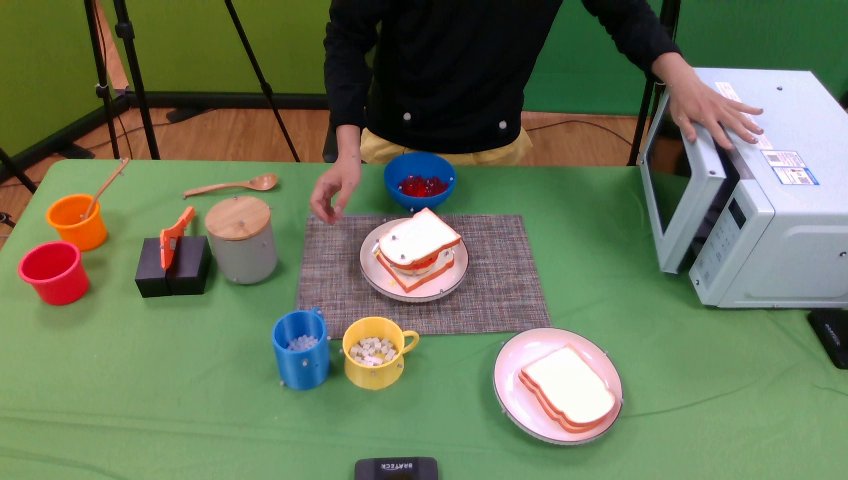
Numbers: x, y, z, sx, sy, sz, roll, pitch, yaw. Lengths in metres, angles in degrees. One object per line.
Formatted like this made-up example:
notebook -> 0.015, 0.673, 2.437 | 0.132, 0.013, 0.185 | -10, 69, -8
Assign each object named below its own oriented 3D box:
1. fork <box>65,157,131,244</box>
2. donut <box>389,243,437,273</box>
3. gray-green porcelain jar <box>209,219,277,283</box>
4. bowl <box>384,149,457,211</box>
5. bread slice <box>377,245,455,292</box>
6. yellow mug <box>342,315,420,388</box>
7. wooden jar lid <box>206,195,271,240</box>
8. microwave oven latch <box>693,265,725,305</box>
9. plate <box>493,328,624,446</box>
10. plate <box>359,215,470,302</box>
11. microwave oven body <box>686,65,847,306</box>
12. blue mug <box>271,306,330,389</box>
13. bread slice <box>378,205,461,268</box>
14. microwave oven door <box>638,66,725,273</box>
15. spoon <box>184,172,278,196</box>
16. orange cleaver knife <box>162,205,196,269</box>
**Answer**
fork -> -0.609, -0.074, 1.132 | 0.207, 0.019, 0.028 | -52, 49, 10
donut -> -0.023, 0.018, 1.120 | 0.099, 0.048, 0.098 | -10, 48, 11
gray-green porcelain jar -> -0.323, 0.007, 1.092 | 0.106, 0.127, 0.105 | 2, 46, -2
bowl -> -0.009, -0.112, 1.262 | 0.151, 0.077, 0.150 | 2, 46, -2
bread slice -> -0.009, 0.033, 1.148 | 0.131, 0.019, 0.104 | -28, 55, -25
yellow mug -> -0.068, 0.177, 0.990 | 0.131, 0.064, 0.099 | -15, 50, -19
wooden jar lid -> -0.319, -0.036, 1.046 | 0.108, 0.021, 0.107 | 1, 44, 0
microwave oven latch -> 0.523, 0.082, 1.116 | 0.030, 0.029, 0.078 | 2, 46, -1
plate -> 0.213, 0.236, 0.974 | 0.208, 0.039, 0.206 | 2, 46, -2
plate -> -0.019, 0.038, 1.140 | 0.209, 0.038, 0.208 | 2, 46, -2
microwave oven body -> 0.669, -0.111, 1.176 | 0.326, 0.261, 0.439 | 0, 46, -3
blue mug -> -0.188, 0.163, 0.969 | 0.082, 0.106, 0.116 | 15, 47, 10
bread slice -> -0.013, -0.002, 1.097 | 0.134, 0.018, 0.106 | -34, 50, -22
microwave oven door -> 0.497, -0.148, 1.193 | 0.039, 0.245, 0.353 | 6, 46, 2
spoon -> -0.405, -0.117, 1.275 | 0.194, 0.022, 0.041 | -8, 67, -12
orange cleaver knife -> -0.454, -0.010, 1.129 | 0.012, 0.077, 0.210 | -2, 20, -5
